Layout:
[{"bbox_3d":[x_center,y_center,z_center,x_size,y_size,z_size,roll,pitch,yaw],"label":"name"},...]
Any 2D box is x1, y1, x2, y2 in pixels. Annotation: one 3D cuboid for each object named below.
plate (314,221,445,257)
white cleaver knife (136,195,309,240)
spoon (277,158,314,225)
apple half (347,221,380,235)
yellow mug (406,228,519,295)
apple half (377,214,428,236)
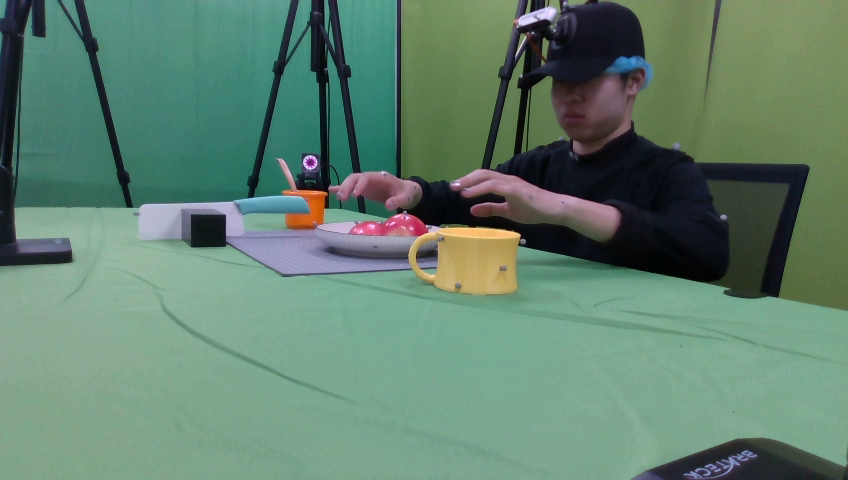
[{"bbox_3d":[-0.066,-0.002,0.948,0.209,0.038,0.209,3,7,0],"label":"plate"},{"bbox_3d":[-0.337,-0.039,1.037,0.288,0.066,0.021,-6,15,-29],"label":"white cleaver knife"},{"bbox_3d":[-0.272,-0.103,1.260,0.042,0.193,0.021,-5,-33,-32],"label":"spoon"},{"bbox_3d":[-0.088,-0.014,0.985,0.081,0.033,0.081,5,5,0],"label":"apple half"},{"bbox_3d":[0.044,0.022,0.707,0.131,0.064,0.100,2,7,5],"label":"yellow mug"},{"bbox_3d":[-0.034,-0.013,0.924,0.080,0.053,0.075,5,10,16],"label":"apple half"}]
